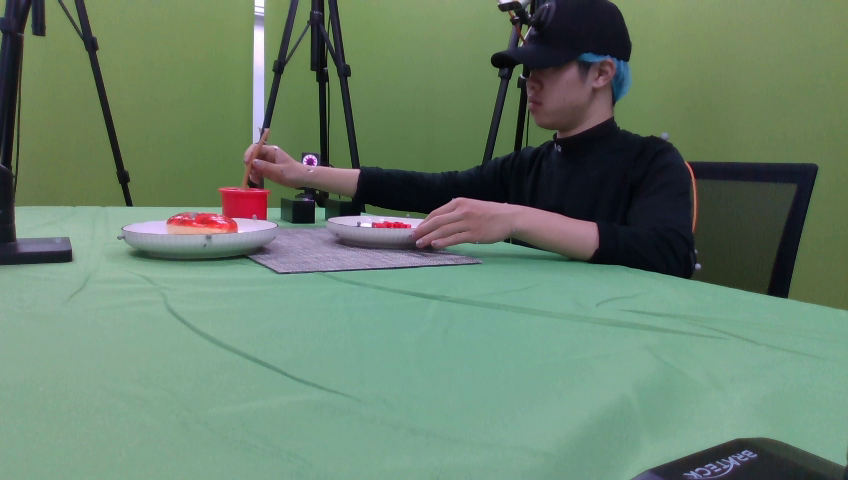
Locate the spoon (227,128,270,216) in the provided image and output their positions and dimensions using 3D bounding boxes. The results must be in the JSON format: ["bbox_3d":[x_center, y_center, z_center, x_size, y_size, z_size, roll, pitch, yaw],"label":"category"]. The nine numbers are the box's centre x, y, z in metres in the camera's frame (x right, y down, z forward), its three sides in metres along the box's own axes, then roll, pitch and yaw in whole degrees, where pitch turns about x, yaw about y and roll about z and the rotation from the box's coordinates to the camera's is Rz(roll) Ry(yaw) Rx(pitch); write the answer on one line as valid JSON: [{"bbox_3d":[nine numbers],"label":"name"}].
[{"bbox_3d":[-0.346,-0.134,1.193,0.022,0.193,0.041,21,-5,-28],"label":"spoon"}]

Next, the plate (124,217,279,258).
[{"bbox_3d":[-0.315,-0.004,0.871,0.208,0.039,0.207,1,8,0],"label":"plate"}]

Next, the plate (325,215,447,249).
[{"bbox_3d":[-0.065,-0.015,1.035,0.209,0.038,0.209,3,8,0],"label":"plate"}]

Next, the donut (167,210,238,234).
[{"bbox_3d":[-0.321,-0.017,0.882,0.099,0.048,0.099,3,6,0],"label":"donut"}]

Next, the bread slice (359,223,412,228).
[{"bbox_3d":[-0.062,-0.013,1.034,0.105,0.019,0.131,0,9,-19],"label":"bread slice"}]
